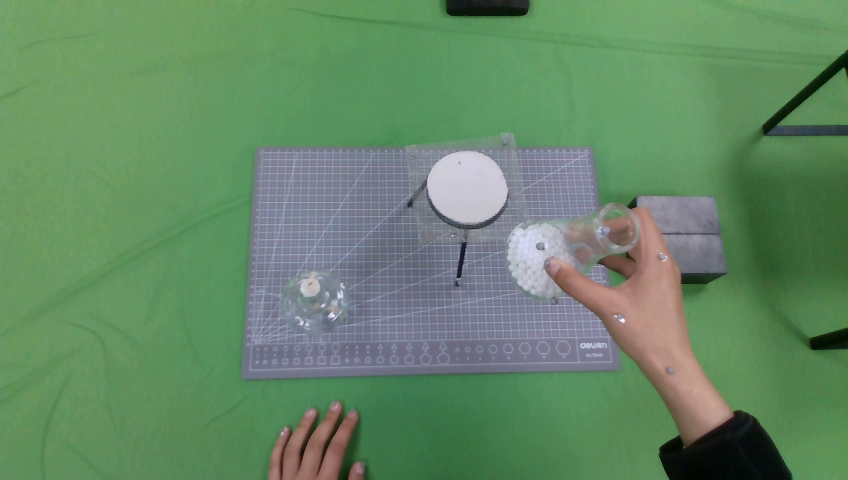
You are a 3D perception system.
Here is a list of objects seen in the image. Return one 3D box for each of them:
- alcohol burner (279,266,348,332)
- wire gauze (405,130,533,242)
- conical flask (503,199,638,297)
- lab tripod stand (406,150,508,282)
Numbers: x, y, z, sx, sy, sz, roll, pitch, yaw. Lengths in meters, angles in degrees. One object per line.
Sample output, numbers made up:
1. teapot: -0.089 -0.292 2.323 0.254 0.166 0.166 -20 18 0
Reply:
1. alcohol burner: -0.125 0.061 0.680 0.078 0.119 0.077 2 70 -5
2. wire gauze: 0.047 -0.058 0.647 0.125 0.011 0.120 -5 73 -6
3. conical flask: 0.122 0.002 0.494 0.076 0.122 0.075 5 75 -19
4. lab tripod stand: 0.046 -0.039 0.712 0.148 0.132 0.147 1 70 -3
